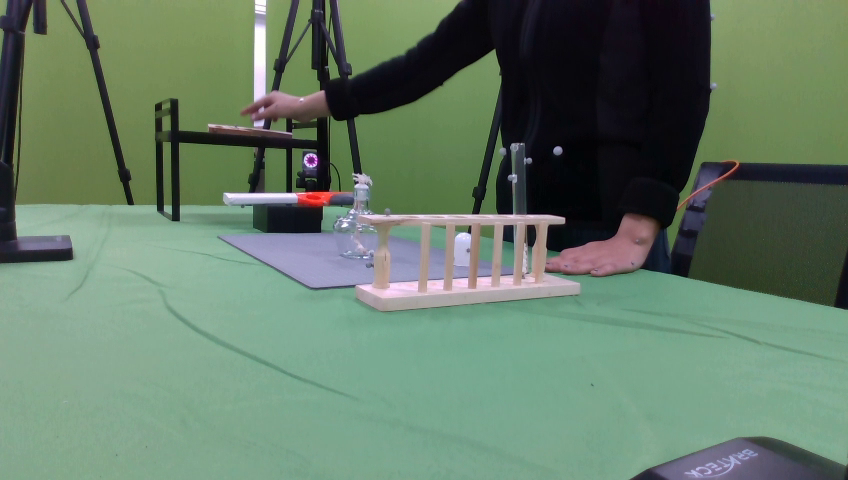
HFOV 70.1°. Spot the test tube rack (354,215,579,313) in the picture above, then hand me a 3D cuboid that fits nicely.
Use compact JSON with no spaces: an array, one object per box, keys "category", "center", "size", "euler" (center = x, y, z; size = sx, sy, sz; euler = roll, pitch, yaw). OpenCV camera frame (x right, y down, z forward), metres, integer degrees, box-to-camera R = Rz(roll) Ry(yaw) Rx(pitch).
[{"category":"test tube rack","center":[0.053,0.019,0.635],"size":[0.243,0.085,0.066],"euler":[-1,8,-29]}]

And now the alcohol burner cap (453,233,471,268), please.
[{"category":"alcohol burner cap","center":[0.053,0.014,0.823],"size":[0.034,0.048,0.034],"euler":[3,6,0]}]

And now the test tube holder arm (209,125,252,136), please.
[{"category":"test tube holder arm","center":[-0.419,-0.236,1.308],"size":[0.088,0.015,0.010],"euler":[1,40,-28]}]

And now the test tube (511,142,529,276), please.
[{"category":"test tube","center":[0.108,-0.034,0.678],"size":[0.017,0.150,0.017],"euler":[-3,7,1]}]

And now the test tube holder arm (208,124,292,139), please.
[{"category":"test tube holder arm","center":[-0.381,-0.238,1.334],"size":[0.179,0.015,0.013],"euler":[1,40,-29]}]

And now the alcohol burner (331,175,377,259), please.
[{"category":"alcohol burner","center":[-0.091,-0.033,0.855],"size":[0.078,0.119,0.078],"euler":[4,7,0]}]

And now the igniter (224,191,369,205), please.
[{"category":"igniter","center":[-0.237,-0.079,1.157],"size":[0.278,0.025,0.057],"euler":[-2,20,-31]}]
